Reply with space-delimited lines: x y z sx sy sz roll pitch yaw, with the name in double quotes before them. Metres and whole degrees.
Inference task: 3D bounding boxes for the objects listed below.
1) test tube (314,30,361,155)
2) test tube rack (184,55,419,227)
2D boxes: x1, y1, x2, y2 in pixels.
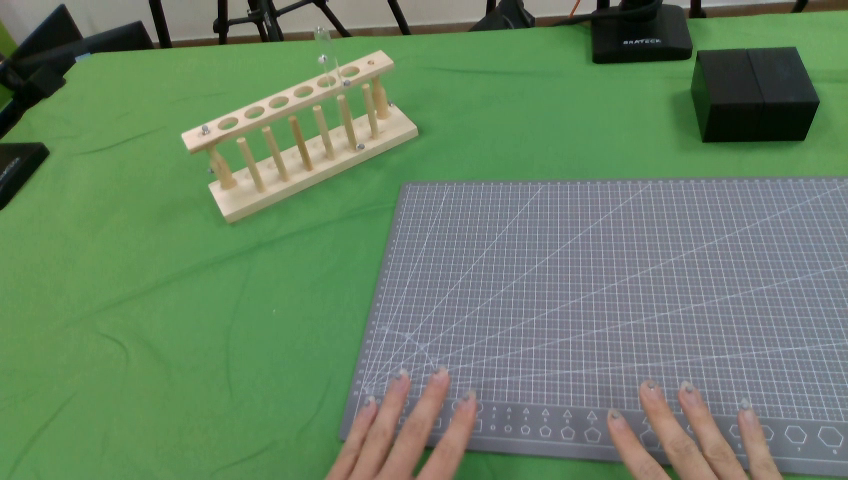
"test tube" -0.092 -0.155 0.654 0.017 0.152 0.017 -6 45 6
"test tube rack" -0.132 -0.115 0.687 0.242 0.086 0.066 -28 48 -14
